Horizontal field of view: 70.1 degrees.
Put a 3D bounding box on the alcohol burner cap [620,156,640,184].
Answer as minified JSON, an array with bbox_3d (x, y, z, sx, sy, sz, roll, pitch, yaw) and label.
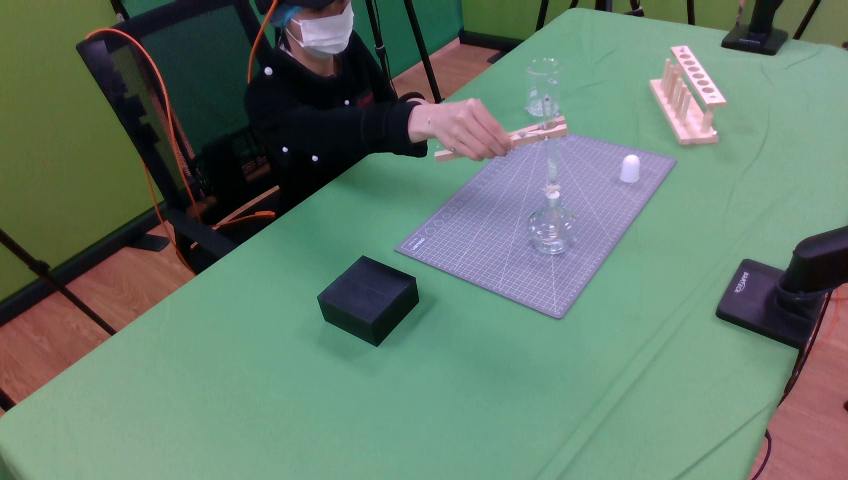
[{"bbox_3d":[0.358,-0.124,1.047,0.034,0.048,0.033,-4,40,4],"label":"alcohol burner cap"}]

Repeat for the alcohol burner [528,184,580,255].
[{"bbox_3d":[0.196,-0.036,0.911,0.078,0.119,0.077,-6,41,5],"label":"alcohol burner"}]

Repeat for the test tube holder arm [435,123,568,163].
[{"bbox_3d":[0.100,-0.127,0.798,0.178,0.015,0.013,-12,49,15],"label":"test tube holder arm"}]

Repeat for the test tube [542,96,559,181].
[{"bbox_3d":[0.169,-0.130,0.803,0.017,0.151,0.017,-7,53,10],"label":"test tube"}]

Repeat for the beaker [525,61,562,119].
[{"bbox_3d":[0.248,-0.308,1.246,0.073,0.101,0.084,29,52,36],"label":"beaker"}]

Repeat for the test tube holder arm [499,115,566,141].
[{"bbox_3d":[0.142,-0.142,0.792,0.087,0.015,0.010,-18,48,10],"label":"test tube holder arm"}]

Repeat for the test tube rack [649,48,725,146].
[{"bbox_3d":[0.508,-0.285,1.186,0.067,0.085,0.241,-4,40,6],"label":"test tube rack"}]
